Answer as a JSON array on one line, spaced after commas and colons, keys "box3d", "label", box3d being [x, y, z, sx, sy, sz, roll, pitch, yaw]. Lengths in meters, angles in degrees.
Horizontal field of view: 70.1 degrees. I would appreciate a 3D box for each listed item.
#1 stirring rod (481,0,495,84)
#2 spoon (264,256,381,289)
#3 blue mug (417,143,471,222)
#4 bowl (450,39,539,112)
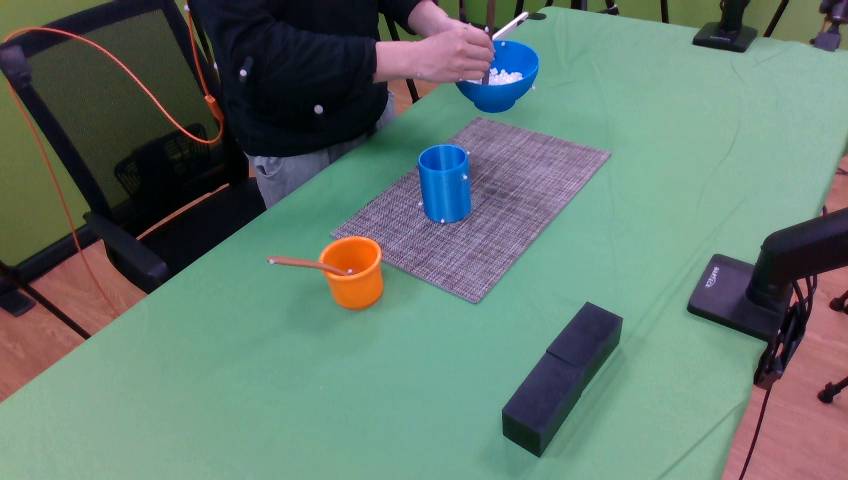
[{"box3d": [0.102, -0.305, 0.973, 0.014, 0.177, 0.006, -32, 56, -24], "label": "stirring rod"}, {"box3d": [-0.136, 0.041, 0.842, 0.021, 0.195, 0.041, -56, 46, 13], "label": "spoon"}, {"box3d": [0.031, -0.104, 1.014, 0.082, 0.106, 0.115, -14, 41, -7], "label": "blue mug"}, {"box3d": [0.121, -0.273, 1.039, 0.151, 0.077, 0.150, -3, 46, 4], "label": "bowl"}]
